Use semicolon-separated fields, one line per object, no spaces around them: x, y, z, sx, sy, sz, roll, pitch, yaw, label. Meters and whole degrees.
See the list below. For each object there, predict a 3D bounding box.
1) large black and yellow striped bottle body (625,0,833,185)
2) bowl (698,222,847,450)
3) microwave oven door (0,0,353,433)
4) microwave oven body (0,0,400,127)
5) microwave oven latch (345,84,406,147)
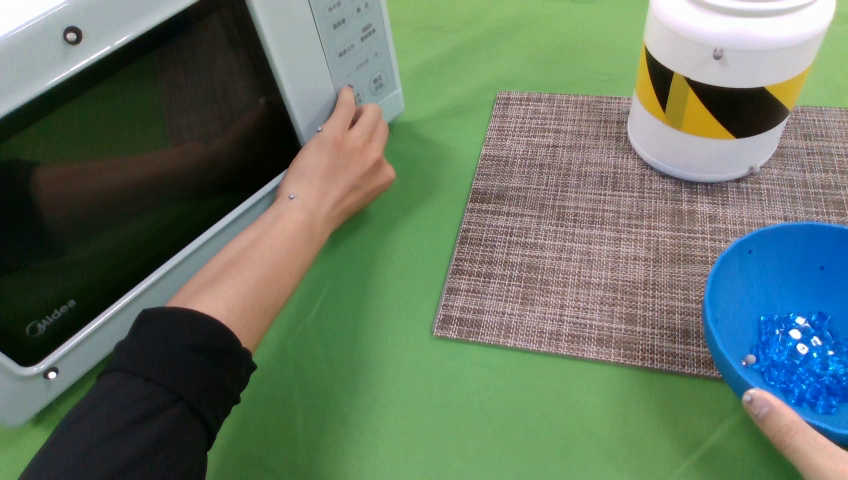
0.243;-0.151;0.496;0.130;0.186;0.129;-4;51;6;large black and yellow striped bottle body
0.248;0.070;0.386;0.151;0.077;0.150;-5;51;6;bowl
-0.211;-0.050;0.429;0.039;0.246;0.355;31;62;29;microwave oven door
-0.292;-0.139;0.521;0.323;0.263;0.441;31;63;28;microwave oven body
-0.054;-0.127;0.599;0.079;0.030;0.030;-39;57;-20;microwave oven latch
